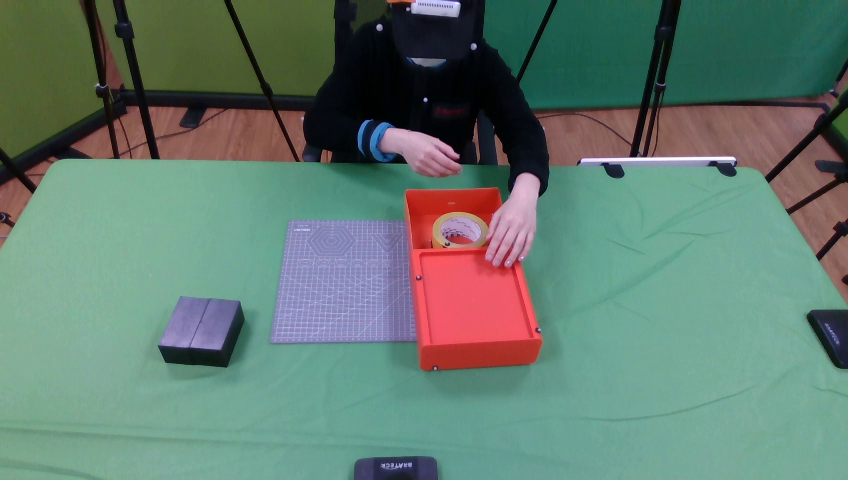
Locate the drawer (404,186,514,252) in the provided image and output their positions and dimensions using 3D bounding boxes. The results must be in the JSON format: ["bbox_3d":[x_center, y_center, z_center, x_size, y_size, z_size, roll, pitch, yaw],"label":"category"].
[{"bbox_3d":[0.066,-0.011,1.171,0.195,0.073,0.210,-1,45,-6],"label":"drawer"}]

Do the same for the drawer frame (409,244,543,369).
[{"bbox_3d":[0.082,0.110,1.052,0.202,0.083,0.212,-2,47,-7],"label":"drawer frame"}]

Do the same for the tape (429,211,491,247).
[{"bbox_3d":[0.068,-0.002,1.172,0.117,0.053,0.116,2,44,-2],"label":"tape"}]
